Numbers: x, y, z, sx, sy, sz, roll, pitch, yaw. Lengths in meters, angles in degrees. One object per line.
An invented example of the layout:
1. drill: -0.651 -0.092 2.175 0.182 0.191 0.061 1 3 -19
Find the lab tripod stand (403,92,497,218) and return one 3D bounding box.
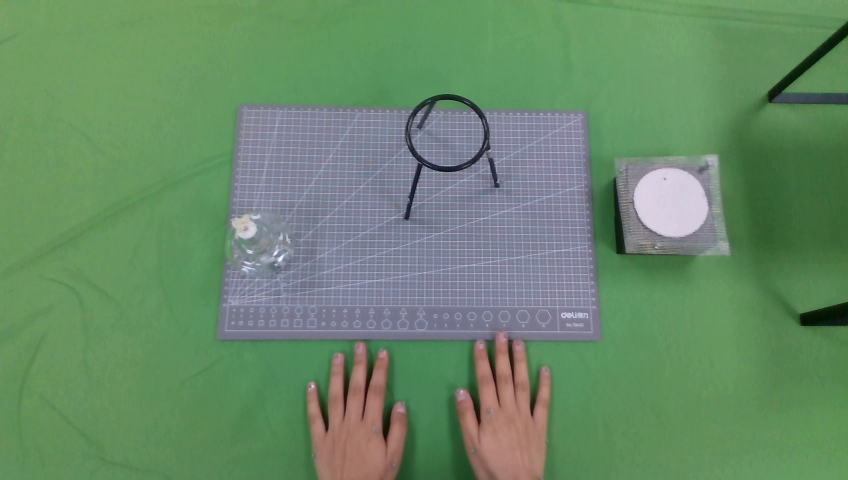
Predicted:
1. lab tripod stand: 0.018 -0.102 0.698 0.148 0.132 0.147 0 75 0

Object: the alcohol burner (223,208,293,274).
1. alcohol burner: -0.188 -0.003 0.674 0.078 0.119 0.077 0 77 -2

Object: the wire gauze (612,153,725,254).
1. wire gauze: 0.288 -0.043 0.711 0.125 0.011 0.121 0 78 -2
